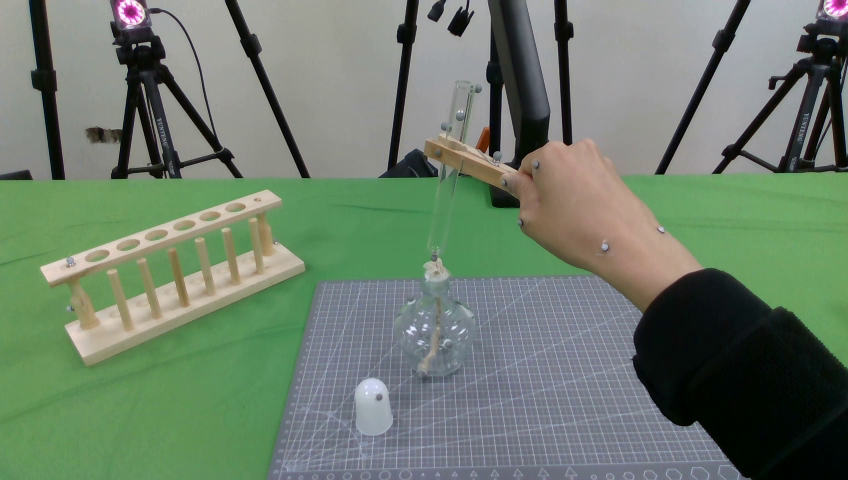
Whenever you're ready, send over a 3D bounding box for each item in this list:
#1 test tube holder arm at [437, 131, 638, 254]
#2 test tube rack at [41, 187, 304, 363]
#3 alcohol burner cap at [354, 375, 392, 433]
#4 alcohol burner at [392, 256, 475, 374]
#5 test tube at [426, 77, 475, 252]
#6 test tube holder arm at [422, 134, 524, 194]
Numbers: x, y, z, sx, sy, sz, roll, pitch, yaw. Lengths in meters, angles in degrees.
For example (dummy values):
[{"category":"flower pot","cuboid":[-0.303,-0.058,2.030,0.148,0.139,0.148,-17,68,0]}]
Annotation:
[{"category":"test tube holder arm","cuboid":[0.073,-0.039,0.431,0.176,0.015,0.013,34,40,32]},{"category":"test tube rack","cuboid":[-0.255,0.028,0.649,0.243,0.086,0.066,-25,40,-33]},{"category":"alcohol burner cap","cuboid":[-0.044,0.134,0.509,0.034,0.048,0.033,0,32,0]},{"category":"alcohol burner","cuboid":[0.009,0.063,0.553,0.078,0.120,0.077,0,34,0]},{"category":"test tube","cuboid":[0.018,-0.053,0.475,0.017,0.151,0.017,7,34,-4]},{"category":"test tube holder arm","cuboid":[0.036,-0.057,0.449,0.087,0.015,0.010,28,36,25]}]
